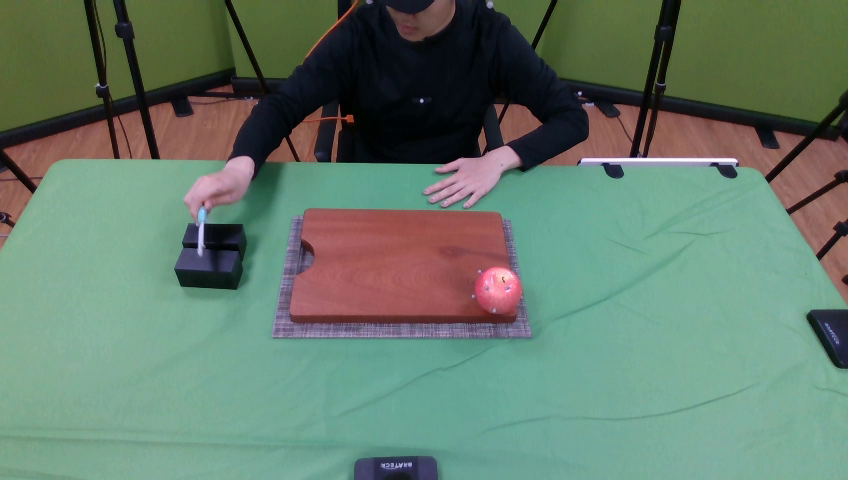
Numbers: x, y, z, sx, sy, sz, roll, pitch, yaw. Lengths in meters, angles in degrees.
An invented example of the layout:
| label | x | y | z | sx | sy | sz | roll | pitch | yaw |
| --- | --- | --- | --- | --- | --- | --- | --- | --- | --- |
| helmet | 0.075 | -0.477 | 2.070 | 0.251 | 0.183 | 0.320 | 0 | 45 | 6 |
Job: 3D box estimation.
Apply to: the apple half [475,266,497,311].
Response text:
| label | x | y | z | sx | sy | sz | roll | pitch | yaw |
| --- | --- | --- | --- | --- | --- | --- | --- | --- | --- |
| apple half | 0.104 | 0.085 | 1.044 | 0.033 | 0.081 | 0.081 | 9 | 46 | 1 |

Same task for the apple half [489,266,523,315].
| label | x | y | z | sx | sy | sz | roll | pitch | yaw |
| --- | --- | --- | --- | --- | --- | --- | --- | --- | --- |
| apple half | 0.142 | 0.091 | 1.043 | 0.053 | 0.075 | 0.080 | 10 | 44 | 1 |

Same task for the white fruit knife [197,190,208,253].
| label | x | y | z | sx | sy | sz | roll | pitch | yaw |
| --- | --- | --- | --- | --- | --- | --- | --- | --- | --- |
| white fruit knife | -0.392 | -0.036 | 1.070 | 0.016 | 0.027 | 0.206 | 12 | 28 | -24 |
